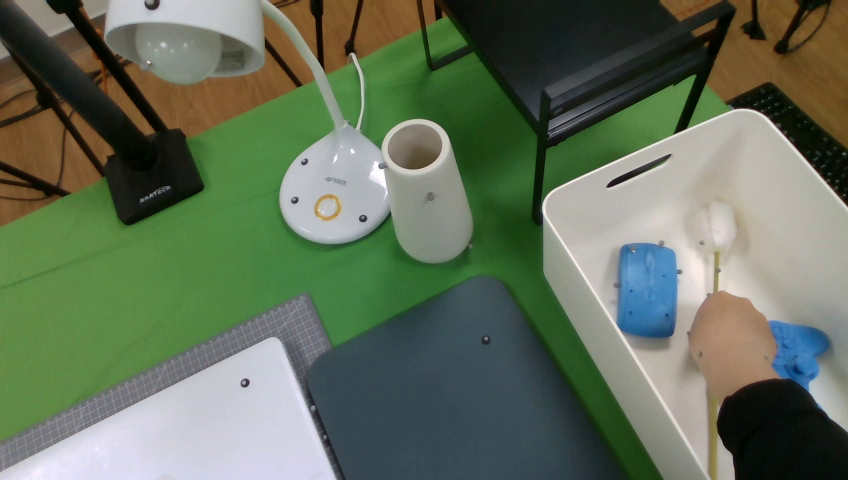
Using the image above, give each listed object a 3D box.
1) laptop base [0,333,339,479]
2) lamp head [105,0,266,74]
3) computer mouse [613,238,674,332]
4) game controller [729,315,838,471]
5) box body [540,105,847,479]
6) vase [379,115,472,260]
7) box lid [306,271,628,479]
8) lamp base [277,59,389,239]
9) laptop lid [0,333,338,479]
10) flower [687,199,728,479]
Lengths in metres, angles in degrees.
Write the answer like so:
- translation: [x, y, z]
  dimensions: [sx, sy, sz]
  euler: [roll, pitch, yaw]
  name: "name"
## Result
- translation: [-0.279, 0.278, 0.662]
  dimensions: [0.354, 0.023, 0.233]
  euler: [-27, 68, -6]
  name: "laptop base"
- translation: [-0.173, -0.197, 0.455]
  dimensions: [0.112, 0.113, 0.122]
  euler: [1, 82, 8]
  name: "lamp head"
- translation: [0.252, 0.048, 0.693]
  dimensions: [0.062, 0.041, 0.116]
  euler: [7, 61, 14]
  name: "computer mouse"
- translation: [0.373, 0.151, 0.626]
  dimensions: [0.097, 0.052, 0.154]
  euler: [6, 64, 10]
  name: "game controller"
- translation: [0.303, 0.080, 0.609]
  dimensions: [0.254, 0.162, 0.360]
  euler: [-24, 64, -5]
  name: "box body"
- translation: [0.001, -0.055, 0.689]
  dimensions: [0.098, 0.202, 0.097]
  euler: [-4, 63, 7]
  name: "vase"
- translation: [0.049, 0.226, 0.652]
  dimensions: [0.263, 0.015, 0.368]
  euler: [-27, 65, -7]
  name: "box lid"
- translation: [-0.124, -0.118, 0.745]
  dimensions: [0.160, 0.182, 0.178]
  euler: [4, 62, 9]
  name: "lamp base"
- translation: [-0.279, 0.276, 0.651]
  dimensions: [0.357, 0.013, 0.239]
  euler: [-25, 67, -5]
  name: "laptop lid"
- translation: [0.312, 0.117, 0.661]
  dimensions: [0.044, 0.038, 0.359]
  euler: [-3, 62, 28]
  name: "flower"
